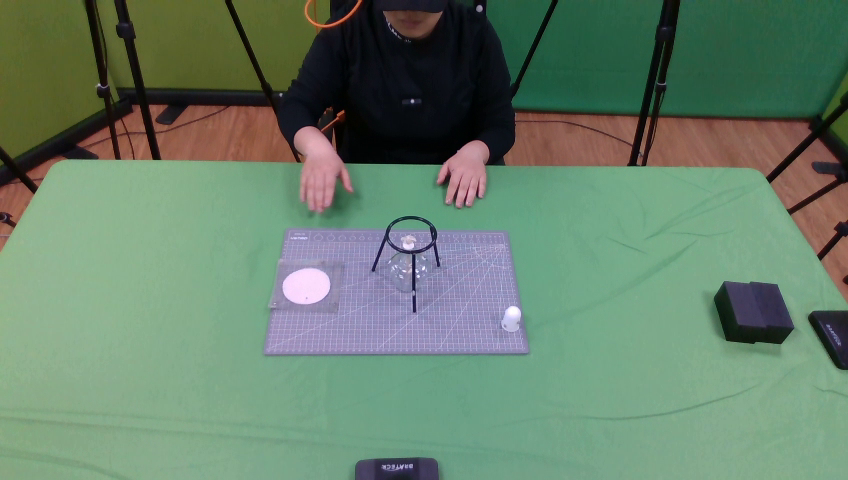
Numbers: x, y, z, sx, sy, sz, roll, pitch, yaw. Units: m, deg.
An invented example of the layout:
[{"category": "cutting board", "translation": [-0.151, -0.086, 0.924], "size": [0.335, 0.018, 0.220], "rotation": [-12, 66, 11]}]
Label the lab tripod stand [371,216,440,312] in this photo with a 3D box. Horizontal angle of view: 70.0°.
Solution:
[{"category": "lab tripod stand", "translation": [-0.029, 0.033, 1.084], "size": [0.148, 0.132, 0.147], "rotation": [1, 47, -1]}]

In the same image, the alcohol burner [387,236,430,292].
[{"category": "alcohol burner", "translation": [-0.028, 0.038, 1.093], "size": [0.078, 0.120, 0.077], "rotation": [1, 46, -1]}]

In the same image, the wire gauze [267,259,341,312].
[{"category": "wire gauze", "translation": [-0.218, 0.081, 1.110], "size": [0.125, 0.011, 0.120], "rotation": [1, 46, 0]}]

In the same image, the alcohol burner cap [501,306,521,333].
[{"category": "alcohol burner cap", "translation": [0.155, 0.137, 1.061], "size": [0.034, 0.048, 0.033], "rotation": [1, 45, -1]}]
